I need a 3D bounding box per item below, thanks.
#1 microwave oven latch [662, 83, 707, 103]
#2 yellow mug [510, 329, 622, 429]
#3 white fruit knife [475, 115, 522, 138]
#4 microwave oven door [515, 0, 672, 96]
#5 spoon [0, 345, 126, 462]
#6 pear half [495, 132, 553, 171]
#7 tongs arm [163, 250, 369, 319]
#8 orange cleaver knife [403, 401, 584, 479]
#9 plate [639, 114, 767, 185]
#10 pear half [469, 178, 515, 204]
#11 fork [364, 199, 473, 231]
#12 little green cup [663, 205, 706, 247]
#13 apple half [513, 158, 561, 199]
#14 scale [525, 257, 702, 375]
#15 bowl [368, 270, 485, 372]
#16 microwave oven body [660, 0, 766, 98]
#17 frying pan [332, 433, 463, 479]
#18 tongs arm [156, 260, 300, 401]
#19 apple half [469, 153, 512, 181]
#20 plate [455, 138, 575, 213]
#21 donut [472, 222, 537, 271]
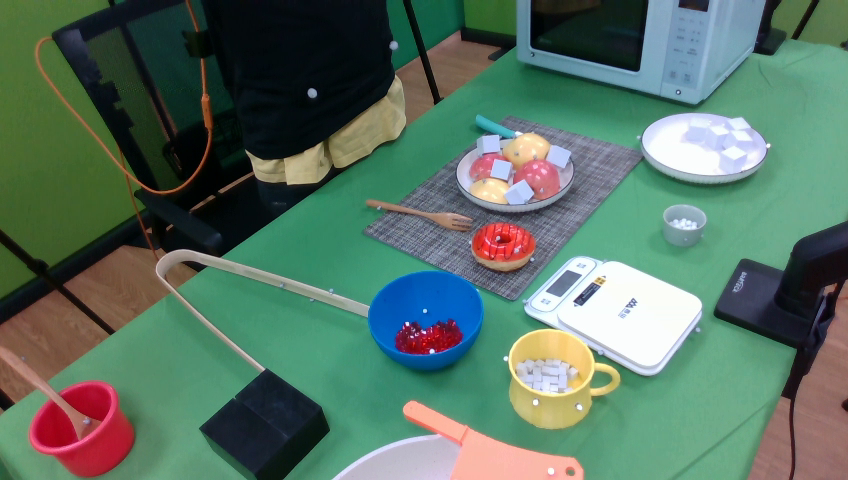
[{"bbox_3d":[0.517,-0.296,1.204,0.078,0.029,0.030,28,52,35],"label":"microwave oven latch"},{"bbox_3d":[0.168,0.164,0.721,0.130,0.064,0.099,0,40,8],"label":"yellow mug"},{"bbox_3d":[0.177,-0.207,1.190,0.205,0.016,0.027,31,64,35],"label":"white fruit knife"},{"bbox_3d":[0.343,-0.454,1.259,0.353,0.245,0.039,26,51,33],"label":"microwave oven door"},{"bbox_3d":[-0.434,0.192,0.720,0.194,0.021,0.042,47,53,-7],"label":"spoon"},{"bbox_3d":[0.174,-0.167,1.095,0.109,0.056,0.076,15,53,30],"label":"pear half"},{"bbox_3d":[-0.247,0.072,0.917,0.382,0.026,0.051,16,48,26],"label":"tongs arm"},{"bbox_3d":[0.062,0.222,0.609,0.210,0.012,0.077,15,49,24],"label":"orange cleaver knife"},{"bbox_3d":[0.489,-0.157,1.074,0.207,0.039,0.206,-4,40,4],"label":"plate"},{"bbox_3d":[0.115,-0.090,1.036,0.087,0.031,0.071,28,38,32],"label":"pear half"},{"bbox_3d":[-0.014,-0.046,1.027,0.206,0.028,0.019,14,18,27],"label":"fork"},{"bbox_3d":[0.396,-0.020,0.926,0.061,0.039,0.061,-4,40,4],"label":"little green cup"},{"bbox_3d":[0.193,-0.111,1.031,0.080,0.053,0.075,11,41,26],"label":"apple half"},{"bbox_3d":[0.254,0.091,0.821,0.199,0.032,0.149,28,51,35],"label":"scale"},{"bbox_3d":[0.007,0.119,0.791,0.151,0.077,0.150,-5,39,4],"label":"bowl"},{"bbox_3d":[0.472,-0.513,1.317,0.438,0.261,0.327,26,51,34],"label":"microwave oven body"},{"bbox_3d":[-0.089,0.306,0.564,0.487,0.103,0.306,10,41,7],"label":"frying pan"},{"bbox_3d":[-0.295,0.121,0.869,0.384,0.028,0.028,28,58,36],"label":"tongs arm"},{"bbox_3d":[0.119,-0.138,1.088,0.081,0.033,0.081,-1,44,2],"label":"apple half"},{"bbox_3d":[0.159,-0.111,1.063,0.209,0.038,0.208,-4,40,4],"label":"plate"},{"bbox_3d":[0.123,0.009,0.923,0.099,0.048,0.098,-4,37,3],"label":"donut"}]
